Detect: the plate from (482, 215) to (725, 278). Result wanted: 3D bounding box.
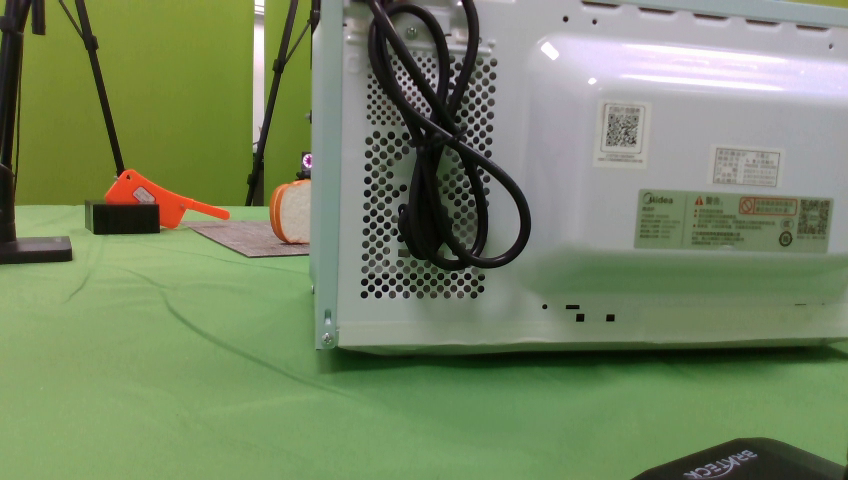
[{"bbox_3d":[0.157,0.003,0.546,0.208,0.039,0.207,-2,6,1],"label":"plate"}]

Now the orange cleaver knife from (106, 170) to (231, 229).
[{"bbox_3d":[-0.458,-0.060,1.097,0.212,0.077,0.012,23,-4,-38],"label":"orange cleaver knife"}]

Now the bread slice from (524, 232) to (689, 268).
[{"bbox_3d":[0.174,0.008,0.565,0.134,0.018,0.107,-5,4,27],"label":"bread slice"}]

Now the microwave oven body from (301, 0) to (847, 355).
[{"bbox_3d":[0.120,-0.053,0.535,0.443,0.260,0.325,2,7,-11],"label":"microwave oven body"}]

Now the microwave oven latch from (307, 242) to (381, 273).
[{"bbox_3d":[-0.086,0.019,0.656,0.079,0.029,0.030,2,7,-10],"label":"microwave oven latch"}]

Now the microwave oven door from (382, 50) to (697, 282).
[{"bbox_3d":[0.135,-0.077,0.685,0.357,0.243,0.039,1,8,-12],"label":"microwave oven door"}]
